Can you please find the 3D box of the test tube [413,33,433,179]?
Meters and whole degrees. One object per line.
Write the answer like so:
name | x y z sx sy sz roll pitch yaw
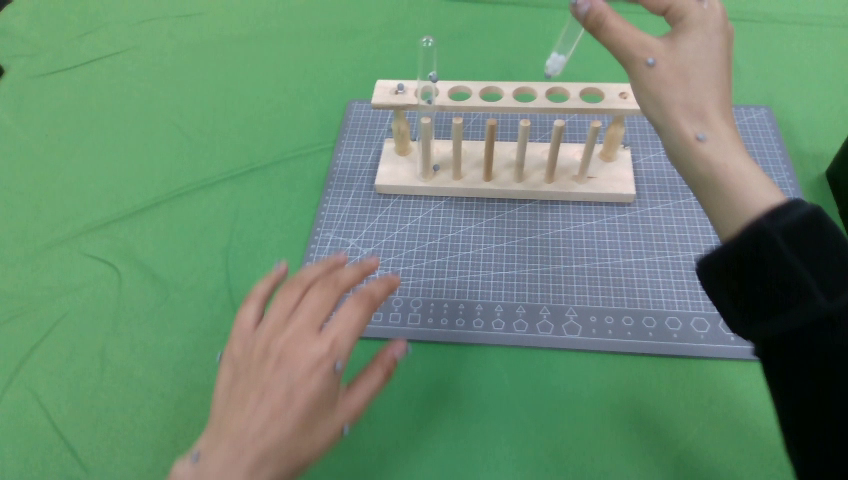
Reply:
test tube | -0.001 -0.110 0.522 0.017 0.152 0.017 0 51 0

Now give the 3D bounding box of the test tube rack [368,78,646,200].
test tube rack | 0.072 -0.093 0.561 0.242 0.086 0.066 3 52 6

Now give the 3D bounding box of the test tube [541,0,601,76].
test tube | 0.106 -0.155 0.402 0.017 0.151 0.017 2 72 -6
